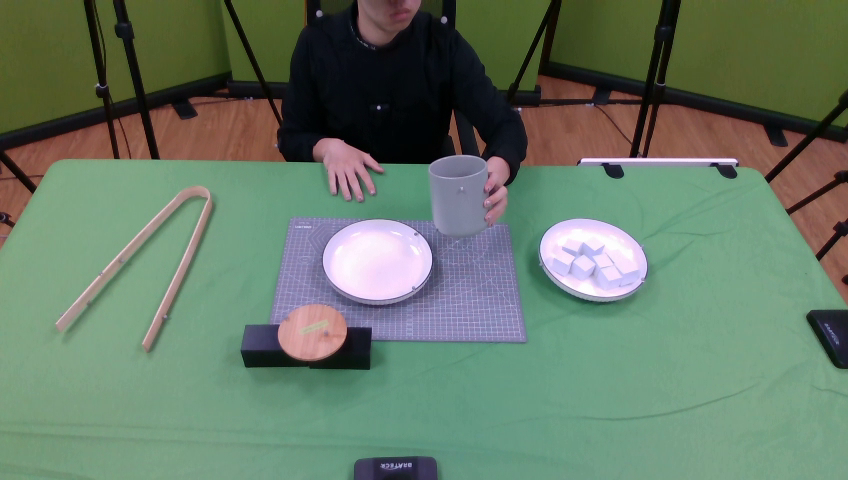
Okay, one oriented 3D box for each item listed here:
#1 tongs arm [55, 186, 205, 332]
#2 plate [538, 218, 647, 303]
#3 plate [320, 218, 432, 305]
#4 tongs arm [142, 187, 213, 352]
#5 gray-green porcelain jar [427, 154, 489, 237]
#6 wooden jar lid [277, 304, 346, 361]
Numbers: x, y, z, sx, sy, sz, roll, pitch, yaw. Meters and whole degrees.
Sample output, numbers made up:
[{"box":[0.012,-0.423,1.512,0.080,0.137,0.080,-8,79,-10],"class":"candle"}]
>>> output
[{"box":[-0.530,0.022,1.125,0.051,0.026,0.383,15,46,8],"class":"tongs arm"},{"box":[0.322,0.043,1.171,0.208,0.039,0.206,2,46,-2],"class":"plate"},{"box":[-0.089,0.044,1.134,0.209,0.038,0.208,3,46,-2],"class":"plate"},{"box":[-0.449,0.040,1.121,0.028,0.028,0.385,2,46,1],"class":"tongs arm"},{"box":[0.063,-0.077,1.089,0.106,0.127,0.105,-5,30,3],"class":"gray-green porcelain jar"},{"box":[-0.179,0.150,0.972,0.108,0.021,0.107,2,45,-2],"class":"wooden jar lid"}]
